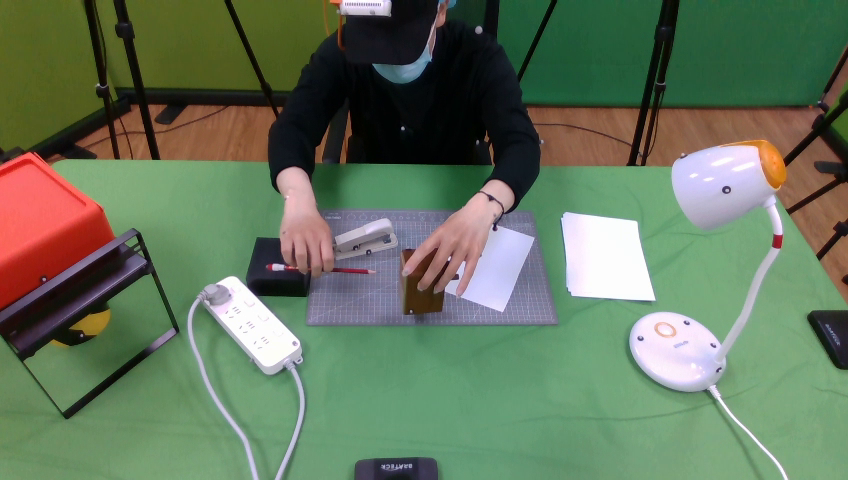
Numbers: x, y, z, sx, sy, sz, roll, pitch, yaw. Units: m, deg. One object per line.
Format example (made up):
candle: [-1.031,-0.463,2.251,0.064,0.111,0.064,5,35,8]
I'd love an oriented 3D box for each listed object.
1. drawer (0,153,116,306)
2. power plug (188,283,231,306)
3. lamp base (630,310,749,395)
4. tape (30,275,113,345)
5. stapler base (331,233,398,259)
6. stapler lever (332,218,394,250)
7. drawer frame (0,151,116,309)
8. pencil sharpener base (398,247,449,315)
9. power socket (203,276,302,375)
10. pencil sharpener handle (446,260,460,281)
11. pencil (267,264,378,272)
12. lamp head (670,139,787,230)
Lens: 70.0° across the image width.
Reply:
drawer: [-0.601,-0.015,0.880,0.193,0.073,0.211,32,53,23]
power plug: [-0.368,0.099,1.036,0.072,0.053,0.035,-24,52,-26]
lamp base: [0.447,0.142,0.984,0.161,0.181,0.178,-24,55,-24]
tape: [-0.594,0.117,1.021,0.117,0.053,0.116,2,45,-2]
stapler base: [-0.116,0.004,1.181,0.131,0.024,0.041,-13,47,-14]
stapler lever: [-0.116,-0.012,1.162,0.118,0.040,0.026,-13,47,-14]
drawer frame: [-0.604,-0.013,0.875,0.201,0.083,0.213,31,52,23]
pencil sharpener base: [-0.001,0.069,1.016,0.077,0.107,0.061,-4,43,-10]
power socket: [-0.297,0.141,1.034,0.072,0.033,0.225,-34,58,-30]
pencil sharpener handle: [0.049,0.052,1.019,0.031,0.068,0.036,-4,65,-9]
pencil: [-0.174,0.049,1.042,0.194,0.012,0.012,2,46,4]
lamp head: [0.415,-0.079,0.812,0.113,0.123,0.112,13,70,-37]
